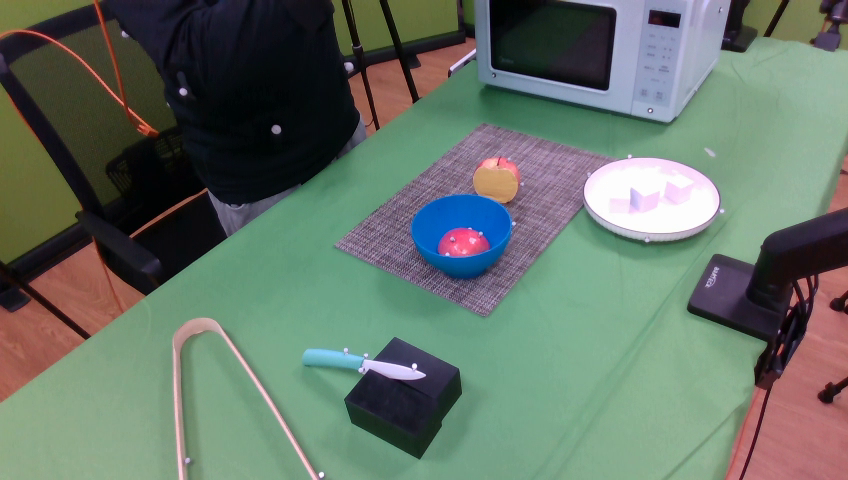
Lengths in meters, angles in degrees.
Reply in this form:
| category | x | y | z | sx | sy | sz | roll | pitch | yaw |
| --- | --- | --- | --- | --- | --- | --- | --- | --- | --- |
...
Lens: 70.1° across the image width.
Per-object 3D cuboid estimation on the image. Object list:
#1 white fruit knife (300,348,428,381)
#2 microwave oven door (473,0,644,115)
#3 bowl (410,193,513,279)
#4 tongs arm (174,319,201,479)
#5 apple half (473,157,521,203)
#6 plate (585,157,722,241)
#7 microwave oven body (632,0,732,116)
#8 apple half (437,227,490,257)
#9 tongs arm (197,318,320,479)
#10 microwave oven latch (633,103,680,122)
| category | x | y | z | sx | sy | sz | roll | pitch | yaw |
| --- | --- | --- | --- | --- | --- | --- | --- | --- | --- |
| white fruit knife | -0.080 | 0.154 | 0.748 | 0.206 | 0.027 | 0.016 | 1 | 20 | 34 |
| microwave oven door | 0.257 | -0.396 | 1.199 | 0.353 | 0.245 | 0.039 | 21 | 48 | 29 |
| bowl | 0.058 | 0.005 | 0.905 | 0.151 | 0.077 | 0.150 | -4 | 40 | 4 |
| tongs arm | -0.272 | 0.234 | 0.723 | 0.051 | 0.026 | 0.381 | -19 | 40 | -15 |
| apple half | 0.128 | -0.107 | 1.030 | 0.080 | 0.075 | 0.053 | 4 | 38 | 19 |
| plate | 0.367 | -0.063 | 0.979 | 0.207 | 0.039 | 0.206 | -4 | 40 | 4 |
| microwave oven body | 0.377 | -0.462 | 1.267 | 0.438 | 0.261 | 0.327 | 21 | 48 | 30 |
| apple half | 0.056 | 0.002 | 0.901 | 0.081 | 0.033 | 0.081 | -3 | 42 | 3 |
| tongs arm | -0.200 | 0.207 | 0.751 | 0.028 | 0.028 | 0.384 | -31 | 45 | -22 |
| microwave oven latch | 0.443 | -0.249 | 1.157 | 0.078 | 0.029 | 0.030 | 19 | 48 | 29 |
